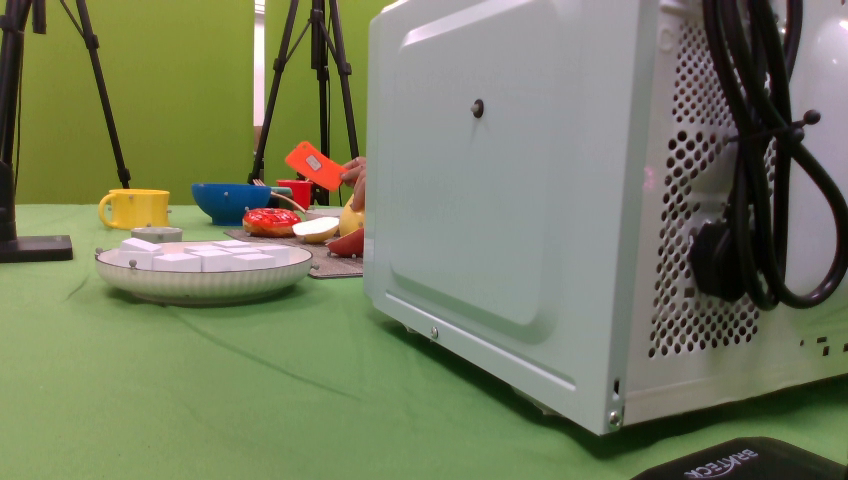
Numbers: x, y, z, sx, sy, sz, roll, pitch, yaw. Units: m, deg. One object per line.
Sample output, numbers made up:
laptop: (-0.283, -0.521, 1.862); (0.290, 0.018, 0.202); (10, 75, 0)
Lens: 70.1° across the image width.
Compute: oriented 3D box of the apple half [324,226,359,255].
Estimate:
apple half: (-0.095, 0.002, 0.848); (0.081, 0.033, 0.081); (-21, -1, 0)

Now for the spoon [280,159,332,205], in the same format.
spoon: (-0.316, -0.159, 1.639); (0.194, 0.022, 0.041); (-49, 32, -20)

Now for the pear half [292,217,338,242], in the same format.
pear half: (-0.175, -0.014, 0.977); (0.087, 0.031, 0.071); (0, 16, 35)

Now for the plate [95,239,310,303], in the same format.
plate: (-0.224, 0.031, 0.629); (0.208, 0.039, 0.207); (2, 7, 0)

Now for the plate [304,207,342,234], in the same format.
plate: (-0.123, -0.037, 1.149); (0.209, 0.038, 0.209); (2, 7, 0)

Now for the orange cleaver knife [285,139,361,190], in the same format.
orange cleaver knife: (-0.208, -0.153, 1.364); (0.212, 0.077, 0.012); (28, -11, -8)

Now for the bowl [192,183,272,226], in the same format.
bowl: (-0.381, -0.071, 1.202); (0.151, 0.077, 0.151); (3, 7, 0)

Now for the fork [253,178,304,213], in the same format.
fork: (-0.294, -0.084, 1.293); (0.206, 0.018, 0.028); (29, 12, 26)

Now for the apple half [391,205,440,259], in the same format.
apple half: (-0.005, -0.009, 0.837); (0.053, 0.074, 0.081); (10, 6, 23)

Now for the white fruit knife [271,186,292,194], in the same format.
white fruit knife: (-0.399, -0.111, 1.368); (0.208, 0.016, 0.027); (-4, -20, -29)

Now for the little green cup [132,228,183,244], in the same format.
little green cup: (-0.342, 0.006, 0.779); (0.061, 0.038, 0.061); (2, 8, 0)

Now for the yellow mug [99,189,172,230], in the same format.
yellow mug: (-0.518, -0.055, 1.080); (0.099, 0.064, 0.131); (6, 9, 26)

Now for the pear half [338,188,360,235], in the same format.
pear half: (-0.088, -0.042, 0.922); (0.055, 0.110, 0.077); (9, 14, 35)

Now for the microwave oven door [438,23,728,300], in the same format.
microwave oven door: (0.181, -0.072, 0.621); (0.358, 0.243, 0.039); (-2, 8, -29)

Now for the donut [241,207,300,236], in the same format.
donut: (-0.263, -0.031, 1.039); (0.099, 0.048, 0.099); (4, 10, 0)

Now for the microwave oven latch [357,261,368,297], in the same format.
microwave oven latch: (-0.019, 0.033, 0.530); (0.079, 0.029, 0.030); (-1, 7, -26)

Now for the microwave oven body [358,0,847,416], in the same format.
microwave oven body: (0.211, -0.047, 0.474); (0.444, 0.260, 0.324); (-1, 7, -28)
